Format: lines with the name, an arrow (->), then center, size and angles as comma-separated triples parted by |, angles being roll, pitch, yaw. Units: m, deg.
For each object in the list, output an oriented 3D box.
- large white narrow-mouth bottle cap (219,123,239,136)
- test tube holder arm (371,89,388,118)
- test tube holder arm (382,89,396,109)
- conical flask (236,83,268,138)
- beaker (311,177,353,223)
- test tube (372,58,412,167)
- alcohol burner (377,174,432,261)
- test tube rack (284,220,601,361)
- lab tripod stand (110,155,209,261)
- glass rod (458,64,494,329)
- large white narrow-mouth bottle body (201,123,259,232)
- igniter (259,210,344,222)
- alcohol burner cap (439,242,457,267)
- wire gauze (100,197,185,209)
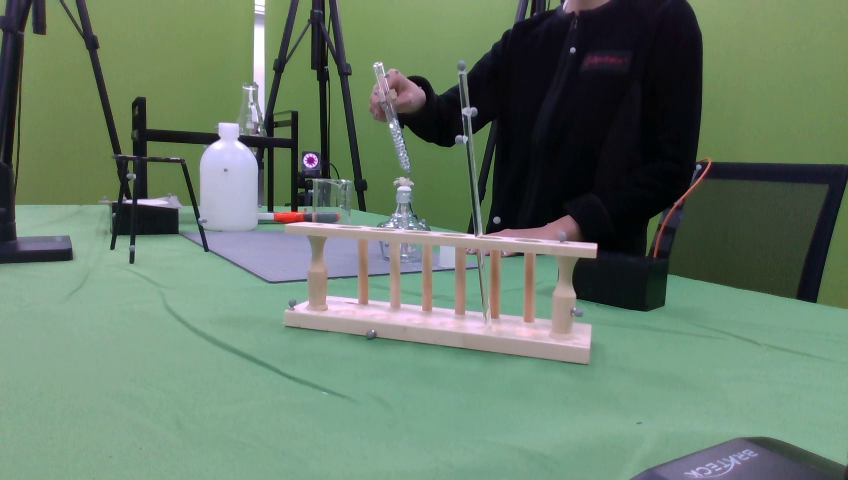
large white narrow-mouth bottle cap -> -0.356, -0.201, 1.104 | 0.038, 0.024, 0.037 | 2, 8, 0
test tube holder arm -> -0.066, -0.200, 0.889 | 0.013, 0.015, 0.178 | 3, 3, -11
test tube holder arm -> -0.052, -0.197, 0.847 | 0.010, 0.015, 0.087 | 2, 3, -14
conical flask -> -0.400, -0.298, 1.396 | 0.075, 0.122, 0.075 | 2, 8, 0
beaker -> -0.167, -0.064, 1.106 | 0.074, 0.100, 0.083 | -2, 9, -27
test tube -> -0.044, -0.173, 0.825 | 0.017, 0.150, 0.017 | -16, 4, 1
alcohol burner -> -0.027, -0.031, 0.838 | 0.078, 0.119, 0.078 | 0, 6, 0
test tube rack -> 0.013, 0.032, 0.482 | 0.242, 0.085, 0.067 | 4, 7, 16
lab tripod stand -> -0.361, -0.046, 0.806 | 0.148, 0.131, 0.148 | 2, 5, 0
glass rod -> 0.039, -0.029, 0.449 | 0.008, 0.199, 0.008 | -7, 9, 1
large white narrow-mouth bottle body -> -0.358, -0.116, 1.116 | 0.102, 0.194, 0.102 | 2, 8, 0
igniter -> -0.303, -0.049, 1.258 | 0.278, 0.025, 0.057 | -2, -2, -28
alcohol burner cap -> 0.037, 0.011, 0.807 | 0.034, 0.048, 0.034 | 5, 8, 0
wire gauze -> -0.469, -0.062, 1.008 | 0.126, 0.011, 0.121 | -2, 8, -25
